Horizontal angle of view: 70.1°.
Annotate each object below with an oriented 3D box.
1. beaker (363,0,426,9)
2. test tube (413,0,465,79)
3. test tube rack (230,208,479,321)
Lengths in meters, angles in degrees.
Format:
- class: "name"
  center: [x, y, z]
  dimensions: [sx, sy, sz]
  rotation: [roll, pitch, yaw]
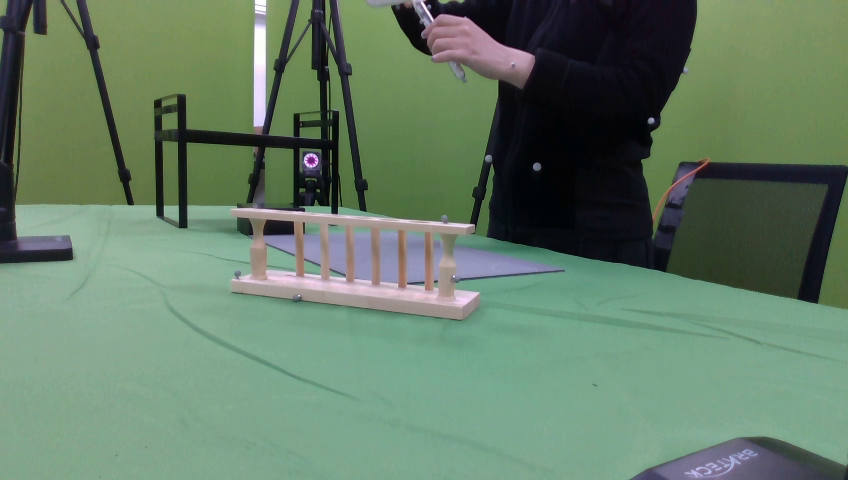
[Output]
- class: "beaker"
  center: [-0.047, -0.406, 0.957]
  dimensions: [0.100, 0.084, 0.074]
  rotation: [5, 5, 34]
- class: "test tube"
  center: [0.022, -0.303, 0.914]
  dimensions: [0.017, 0.150, 0.017]
  rotation: [-26, -15, -8]
- class: "test tube rack"
  center: [-0.069, 0.017, 0.598]
  dimensions: [0.242, 0.085, 0.067]
  rotation: [5, 8, 18]
